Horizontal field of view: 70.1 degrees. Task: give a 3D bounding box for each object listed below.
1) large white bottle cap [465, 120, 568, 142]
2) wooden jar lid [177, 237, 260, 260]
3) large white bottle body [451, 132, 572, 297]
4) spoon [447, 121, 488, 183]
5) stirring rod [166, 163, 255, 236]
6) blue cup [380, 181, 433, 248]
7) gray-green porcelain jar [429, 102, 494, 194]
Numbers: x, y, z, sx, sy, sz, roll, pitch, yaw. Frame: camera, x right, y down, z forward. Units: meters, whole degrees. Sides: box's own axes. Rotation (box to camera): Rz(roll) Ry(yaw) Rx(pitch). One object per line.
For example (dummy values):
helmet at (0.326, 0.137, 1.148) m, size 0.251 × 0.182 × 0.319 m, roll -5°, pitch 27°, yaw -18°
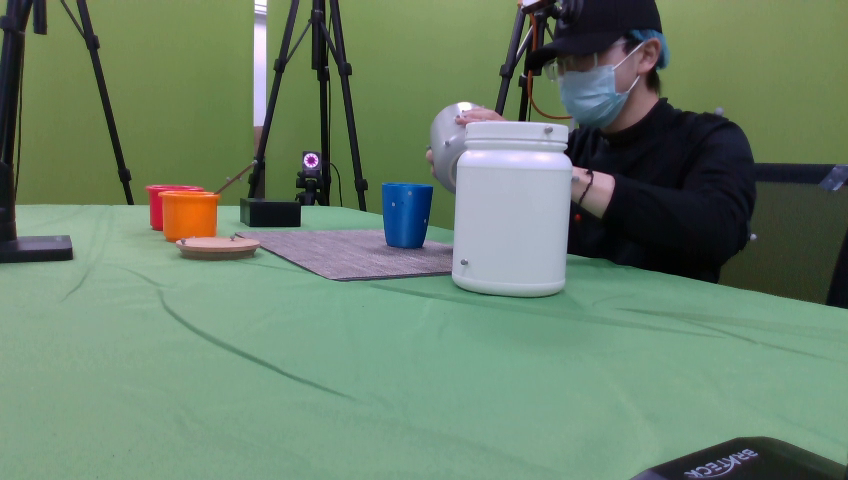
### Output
large white bottle cap at (0.103, -0.121, 0.677) m, size 0.115 × 0.018 × 0.115 m, roll 3°, pitch 7°, yaw 0°
wooden jar lid at (-0.283, 0.011, 0.833) m, size 0.108 × 0.020 × 0.108 m, roll 1°, pitch 8°, yaw 0°
large white bottle body at (0.099, -0.037, 0.688) m, size 0.131 × 0.184 × 0.130 m, roll 2°, pitch 7°, yaw 0°
spoon at (0.062, -0.140, 0.938) m, size 0.042 × 0.021 × 0.193 m, roll 13°, pitch 36°, yaw -22°
stirring rod at (-0.341, -0.066, 0.967) m, size 0.176 × 0.006 × 0.014 m, roll -42°, pitch 23°, yaw -9°
blue cup at (-0.030, -0.042, 0.980) m, size 0.093 × 0.100 × 0.092 m, roll 3°, pitch 9°, yaw 0°
gray-green porcelain jar at (0.064, -0.131, 0.892) m, size 0.106 × 0.106 × 0.126 m, roll 2°, pitch 35°, yaw -6°
